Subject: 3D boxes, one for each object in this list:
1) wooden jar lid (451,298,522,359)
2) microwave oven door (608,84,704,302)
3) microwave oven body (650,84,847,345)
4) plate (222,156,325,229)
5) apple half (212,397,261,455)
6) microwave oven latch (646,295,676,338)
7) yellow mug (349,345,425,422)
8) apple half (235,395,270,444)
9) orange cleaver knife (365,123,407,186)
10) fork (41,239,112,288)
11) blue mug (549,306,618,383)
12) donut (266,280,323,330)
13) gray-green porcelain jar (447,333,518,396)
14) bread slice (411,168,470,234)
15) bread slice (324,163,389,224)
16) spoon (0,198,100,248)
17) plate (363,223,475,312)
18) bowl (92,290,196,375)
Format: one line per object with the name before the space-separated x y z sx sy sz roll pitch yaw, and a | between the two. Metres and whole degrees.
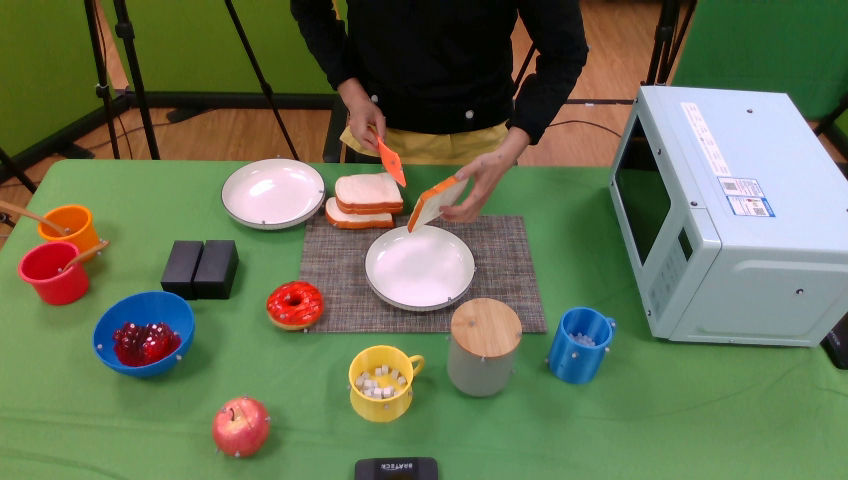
wooden jar lid | 0.093 0.135 0.914 0.108 0.021 0.107 2 49 -3
microwave oven door | 0.424 -0.096 1.138 0.039 0.245 0.353 2 47 -1
microwave oven body | 0.569 -0.054 1.116 0.326 0.261 0.439 2 46 -1
plate | -0.308 -0.095 1.251 0.209 0.038 0.208 2 46 -2
apple half | -0.276 0.276 0.877 0.053 0.075 0.080 -29 58 -21
microwave oven latch | 0.412 0.133 1.060 0.030 0.029 0.078 3 46 0
yellow mug | -0.054 0.217 0.954 0.131 0.064 0.099 -23 52 -25
apple half | -0.245 0.260 0.893 0.033 0.082 0.081 -29 55 -22
orange cleaver knife | -0.079 -0.177 1.234 0.012 0.077 0.210 -21 37 -14
fork | -0.591 0.040 1.028 0.207 0.019 0.028 -27 36 29
blue mug | 0.269 0.167 0.997 0.116 0.106 0.082 -19 50 -21
donut | -0.223 0.112 1.051 0.099 0.048 0.098 2 46 -2
gray-green porcelain jar | 0.091 0.178 0.960 0.106 0.127 0.105 2 46 -2
bread slice | 0.031 -0.076 1.088 0.019 0.105 0.131 42 54 14
bread slice | -0.140 -0.091 1.215 0.134 0.018 0.106 -24 50 12
spoon | -0.684 -0.035 1.092 0.021 0.195 0.041 -34 41 26
plate | -0.009 0.054 1.126 0.208 0.039 0.206 2 46 -2
bowl | -0.436 0.161 0.971 0.151 0.077 0.150 2 46 -2
